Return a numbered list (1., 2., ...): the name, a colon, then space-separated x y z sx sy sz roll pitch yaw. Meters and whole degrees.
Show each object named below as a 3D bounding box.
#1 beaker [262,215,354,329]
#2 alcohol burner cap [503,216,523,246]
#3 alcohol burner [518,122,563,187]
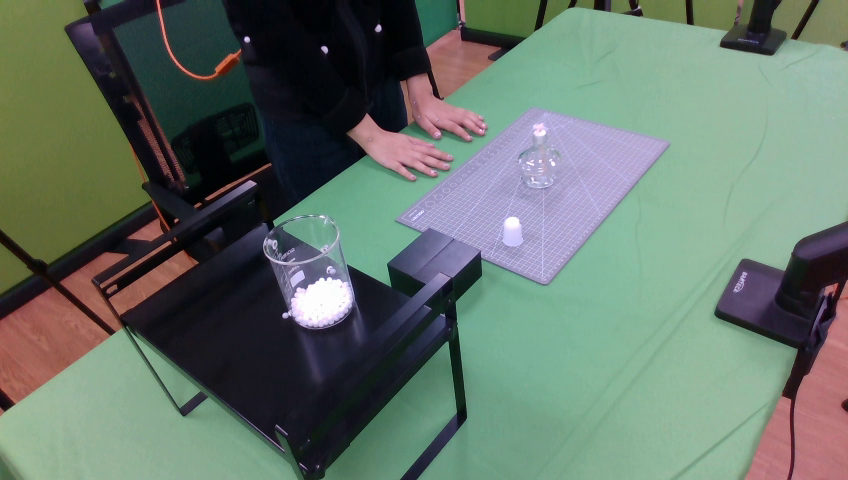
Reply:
1. beaker: -0.112 0.034 0.616 0.073 0.101 0.084 13 44 23
2. alcohol burner cap: 0.140 -0.017 0.954 0.034 0.048 0.033 -4 42 4
3. alcohol burner: 0.201 -0.151 1.046 0.078 0.119 0.077 -6 42 6
